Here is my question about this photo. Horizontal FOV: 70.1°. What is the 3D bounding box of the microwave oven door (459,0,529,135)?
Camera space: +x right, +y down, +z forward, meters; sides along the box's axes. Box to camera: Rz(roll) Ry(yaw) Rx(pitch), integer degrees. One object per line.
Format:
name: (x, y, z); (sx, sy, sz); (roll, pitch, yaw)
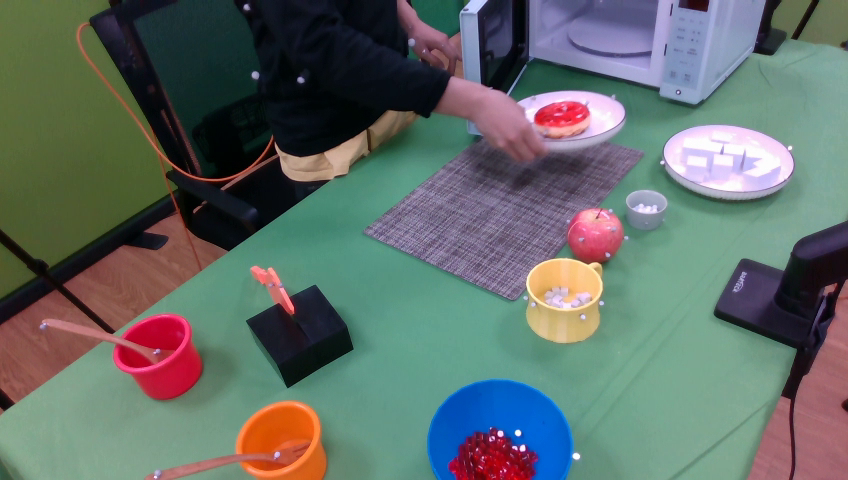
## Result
microwave oven door: (0.153, -0.410, 1.237); (0.039, 0.245, 0.356); (11, 44, 20)

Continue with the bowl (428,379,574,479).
bowl: (0.082, 0.233, 0.644); (0.151, 0.077, 0.150); (-4, 39, 4)

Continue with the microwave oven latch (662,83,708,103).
microwave oven latch: (0.517, -0.296, 1.204); (0.078, 0.029, 0.030); (27, 52, 35)

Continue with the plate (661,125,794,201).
plate: (0.513, -0.128, 1.035); (0.207, 0.039, 0.206); (-4, 40, 4)

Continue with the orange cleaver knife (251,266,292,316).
orange cleaver knife: (-0.221, 0.071, 0.873); (0.012, 0.077, 0.210); (-25, 11, -21)

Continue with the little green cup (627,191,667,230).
little green cup: (0.352, -0.046, 0.963); (0.061, 0.039, 0.061); (-4, 40, 4)

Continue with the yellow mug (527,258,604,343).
yellow mug: (0.201, 0.073, 0.825); (0.131, 0.064, 0.099); (-32, 46, -27)

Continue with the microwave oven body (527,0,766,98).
microwave oven body: (0.472, -0.513, 1.317); (0.438, 0.261, 0.327); (25, 51, 34)

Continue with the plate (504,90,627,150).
plate: (0.244, -0.205, 1.049); (0.209, 0.038, 0.208); (-6, 34, 4)

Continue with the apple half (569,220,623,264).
apple half: (0.251, 0.010, 0.884); (0.081, 0.081, 0.032); (3, 37, 12)

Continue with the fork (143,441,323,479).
fork: (-0.189, 0.231, 0.631); (0.028, 0.018, 0.209); (35, 13, 37)

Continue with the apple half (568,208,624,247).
apple half: (0.259, -0.014, 0.914); (0.080, 0.075, 0.053); (0, 36, 15)

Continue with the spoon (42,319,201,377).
spoon: (-0.385, 0.135, 0.779); (0.195, 0.021, 0.041); (29, 37, -26)

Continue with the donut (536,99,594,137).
donut: (0.241, -0.212, 1.040); (0.099, 0.048, 0.098); (-7, 32, 5)
